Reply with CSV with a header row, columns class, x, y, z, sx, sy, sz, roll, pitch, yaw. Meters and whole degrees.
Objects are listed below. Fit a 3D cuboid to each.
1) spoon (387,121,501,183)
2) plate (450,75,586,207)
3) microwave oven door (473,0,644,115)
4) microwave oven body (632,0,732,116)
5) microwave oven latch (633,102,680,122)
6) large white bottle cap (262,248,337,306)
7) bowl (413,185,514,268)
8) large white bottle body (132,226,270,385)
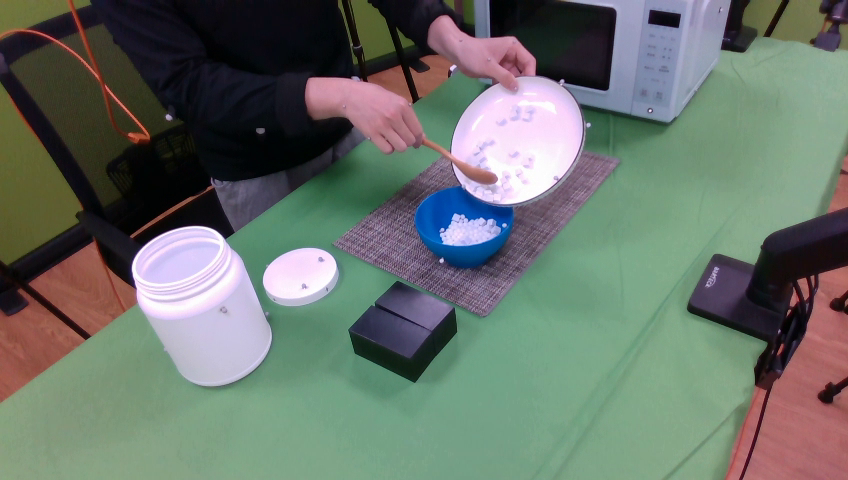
class,x,y,z,sx,sy,sz,roll,pitch,yaw
spoon,0.027,-0.133,0.897,0.193,0.042,0.021,31,64,17
plate,0.139,-0.145,0.907,0.208,0.038,0.208,-8,72,25
microwave oven door,0.257,-0.396,1.199,0.353,0.245,0.039,21,48,29
microwave oven body,0.377,-0.463,1.267,0.438,0.261,0.327,21,49,30
microwave oven latch,0.443,-0.249,1.157,0.078,0.029,0.030,21,49,30
large white bottle cap,-0.193,0.056,0.934,0.115,0.018,0.114,-4,41,4
bowl,0.063,-0.010,0.922,0.151,0.077,0.150,-4,40,4
large white bottle body,-0.286,0.085,0.784,0.130,0.185,0.130,-4,41,4
